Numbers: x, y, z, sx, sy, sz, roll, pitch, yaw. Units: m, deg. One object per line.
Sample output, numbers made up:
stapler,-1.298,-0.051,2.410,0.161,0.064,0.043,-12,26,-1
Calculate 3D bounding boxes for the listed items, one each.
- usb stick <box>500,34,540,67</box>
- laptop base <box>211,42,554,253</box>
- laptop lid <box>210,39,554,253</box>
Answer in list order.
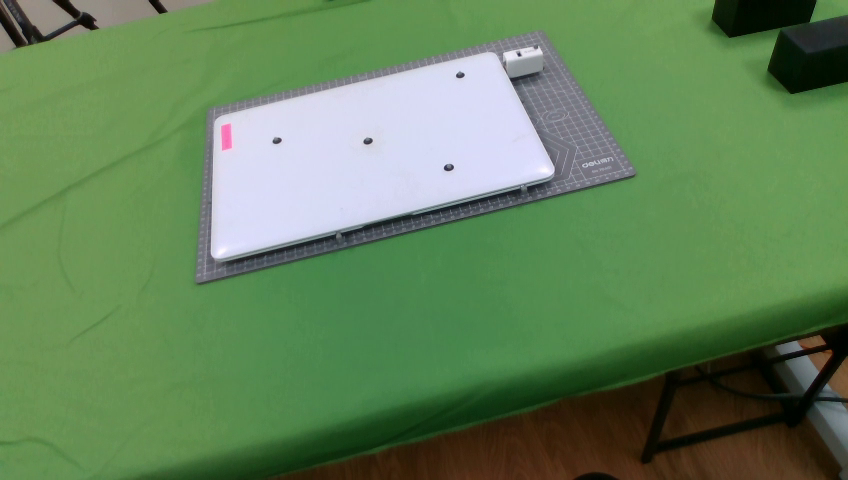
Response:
usb stick,0.108,-0.224,0.722,0.059,0.027,0.021,-15,49,1
laptop base,-0.061,-0.111,0.674,0.354,0.023,0.233,-15,52,-2
laptop lid,-0.062,-0.117,0.664,0.357,0.013,0.239,-13,51,-1
